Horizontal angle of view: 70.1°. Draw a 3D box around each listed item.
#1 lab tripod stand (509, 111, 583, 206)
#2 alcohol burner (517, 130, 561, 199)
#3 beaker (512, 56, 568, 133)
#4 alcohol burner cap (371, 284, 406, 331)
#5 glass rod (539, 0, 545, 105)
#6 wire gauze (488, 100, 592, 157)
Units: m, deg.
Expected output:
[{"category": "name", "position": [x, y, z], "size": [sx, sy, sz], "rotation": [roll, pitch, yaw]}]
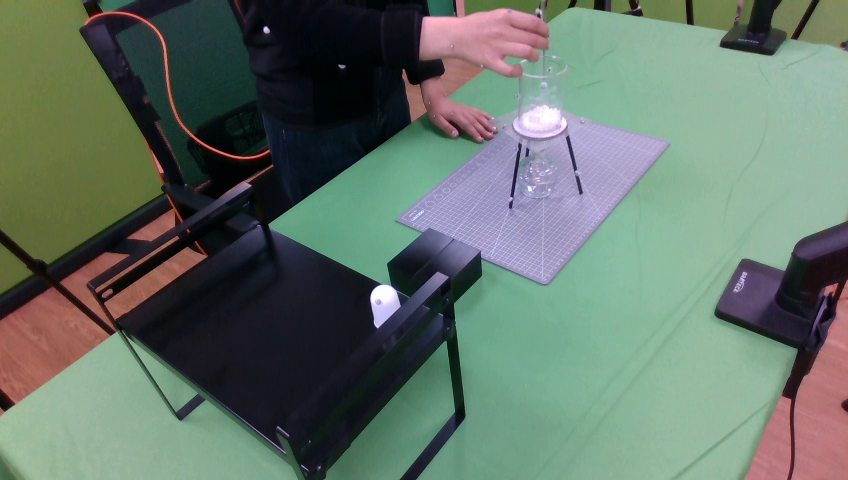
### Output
[{"category": "lab tripod stand", "position": [0.198, -0.139, 1.019], "size": [0.148, 0.132, 0.147], "rotation": [-3, 39, 3]}, {"category": "alcohol burner", "position": [0.193, -0.131, 1.026], "size": [0.078, 0.119, 0.077], "rotation": [-4, 38, 4]}, {"category": "beaker", "position": [0.181, -0.225, 0.946], "size": [0.084, 0.101, 0.074], "rotation": [2, 41, 12]}, {"category": "alcohol burner cap", "position": [-0.037, 0.065, 0.608], "size": [0.034, 0.048, 0.033], "rotation": [-4, 41, 4]}, {"category": "glass rod", "position": [0.170, -0.277, 0.871], "size": [0.008, 0.201, 0.008], "rotation": [-5, 49, 7]}, {"category": "wire gauze", "position": [0.185, -0.187, 0.975], "size": [0.122, 0.011, 0.124], "rotation": [-28, 47, -22]}]
